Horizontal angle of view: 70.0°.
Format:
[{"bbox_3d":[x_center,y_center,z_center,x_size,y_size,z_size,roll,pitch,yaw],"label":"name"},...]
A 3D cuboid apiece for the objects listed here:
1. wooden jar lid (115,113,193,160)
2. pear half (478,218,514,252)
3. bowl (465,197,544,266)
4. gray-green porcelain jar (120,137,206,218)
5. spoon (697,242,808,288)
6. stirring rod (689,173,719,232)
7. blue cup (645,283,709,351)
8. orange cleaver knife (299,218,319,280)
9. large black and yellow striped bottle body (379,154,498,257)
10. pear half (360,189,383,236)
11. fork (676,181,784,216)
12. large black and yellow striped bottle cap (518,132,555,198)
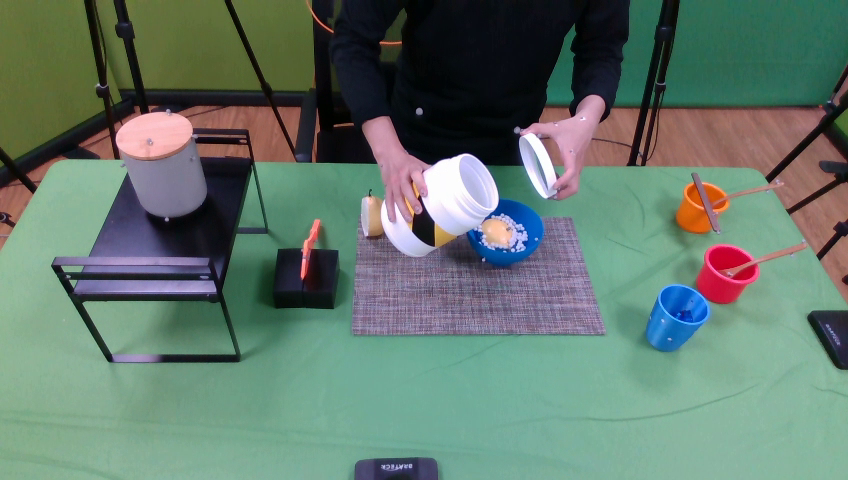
[{"bbox_3d":[-0.399,-0.151,0.900,0.108,0.021,0.107,3,46,-3],"label":"wooden jar lid"},{"bbox_3d":[0.144,-0.013,1.166,0.070,0.031,0.087,-20,56,-22],"label":"pear half"},{"bbox_3d":[0.149,-0.004,1.167,0.151,0.077,0.150,3,46,-2],"label":"bowl"},{"bbox_3d":[-0.403,-0.106,0.946,0.106,0.127,0.105,3,46,-2],"label":"gray-green porcelain jar"},{"bbox_3d":[0.601,0.045,1.116,0.194,0.022,0.041,-29,34,30],"label":"spoon"},{"bbox_3d":[0.565,-0.080,1.225,0.014,0.006,0.175,3,46,1],"label":"stirring rod"},{"bbox_3d":[0.426,0.139,1.041,0.093,0.101,0.092,3,46,-3],"label":"blue cup"},{"bbox_3d":[-0.214,0.013,1.125,0.012,0.077,0.210,6,17,-5],"label":"orange cleaver knife"},{"bbox_3d":[0.025,-0.061,1.063,0.131,0.184,0.130,30,45,-35],"label":"large black and yellow striped bottle body"},{"bbox_3d":[-0.096,-0.060,1.181,0.056,0.110,0.076,-14,52,-17],"label":"pear half"},{"bbox_3d":[0.618,-0.083,1.235,0.207,0.019,0.028,-23,21,38],"label":"fork"},{"bbox_3d":[0.191,-0.127,1.030,0.019,0.116,0.114,-23,49,0],"label":"large black and yellow striped bottle cap"}]
